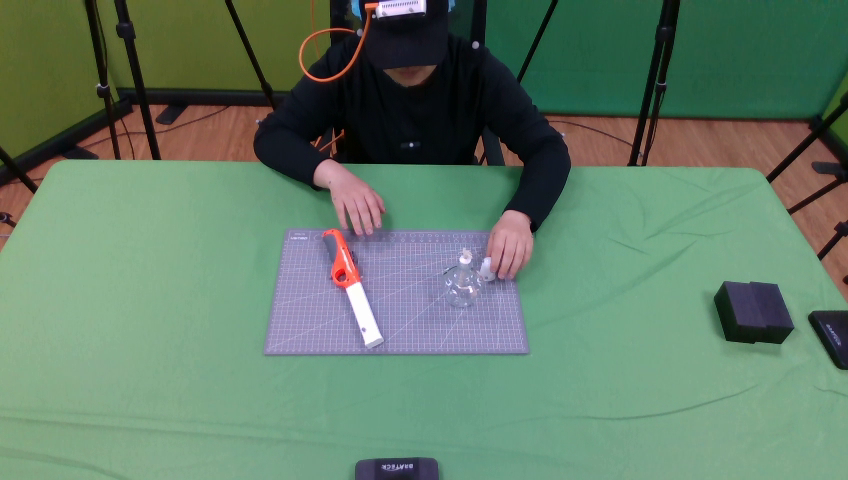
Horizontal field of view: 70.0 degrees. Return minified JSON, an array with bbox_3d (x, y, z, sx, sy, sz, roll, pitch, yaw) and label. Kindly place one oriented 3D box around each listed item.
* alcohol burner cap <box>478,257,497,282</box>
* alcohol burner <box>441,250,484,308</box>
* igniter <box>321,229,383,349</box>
[{"bbox_3d":[0.122,0.054,1.140,0.034,0.048,0.033,2,46,-2],"label":"alcohol burner cap"},{"bbox_3d":[0.069,0.064,1.075,0.078,0.120,0.077,1,45,-1],"label":"alcohol burner"},{"bbox_3d":[-0.134,0.078,1.102,0.057,0.025,0.274,-28,53,0],"label":"igniter"}]
